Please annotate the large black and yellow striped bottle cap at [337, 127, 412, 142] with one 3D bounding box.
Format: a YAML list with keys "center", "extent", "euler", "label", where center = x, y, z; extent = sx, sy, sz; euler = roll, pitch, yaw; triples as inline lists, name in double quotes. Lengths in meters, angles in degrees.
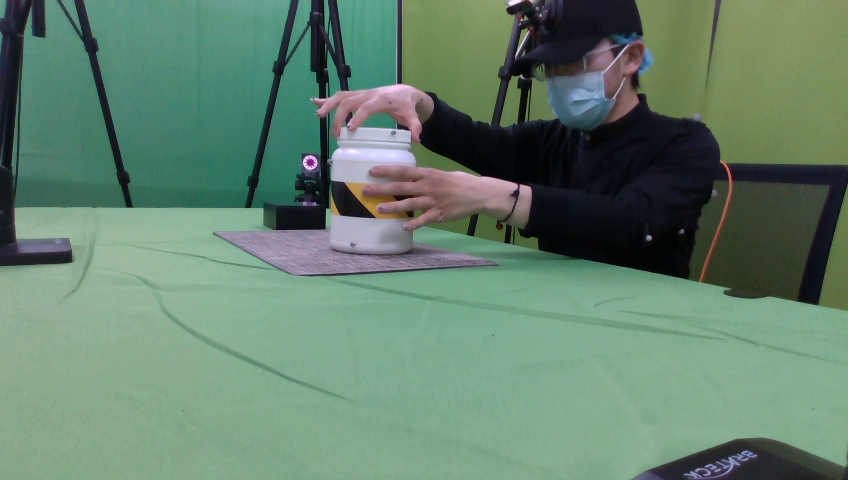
- center: [-0.075, -0.160, 0.923]
  extent: [0.115, 0.019, 0.115]
  euler: [2, 9, 0]
  label: "large black and yellow striped bottle cap"

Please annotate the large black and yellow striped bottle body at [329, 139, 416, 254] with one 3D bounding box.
- center: [-0.079, -0.077, 0.934]
  extent: [0.131, 0.184, 0.130]
  euler: [2, 8, 0]
  label: "large black and yellow striped bottle body"
